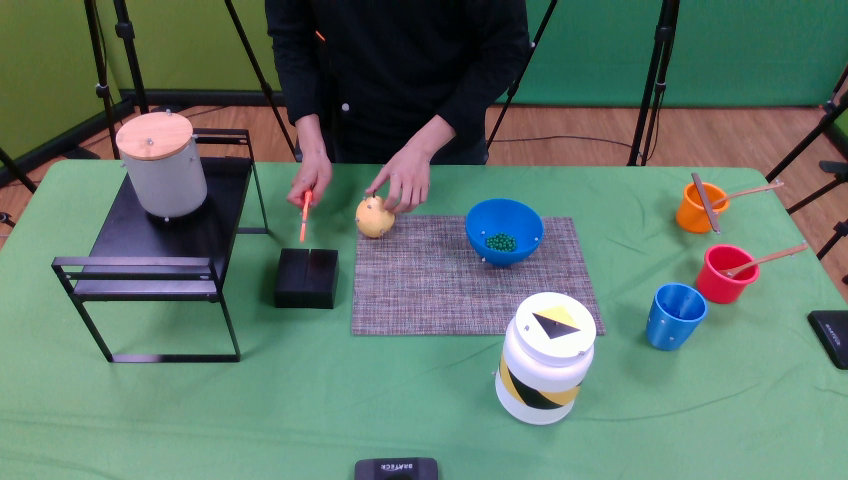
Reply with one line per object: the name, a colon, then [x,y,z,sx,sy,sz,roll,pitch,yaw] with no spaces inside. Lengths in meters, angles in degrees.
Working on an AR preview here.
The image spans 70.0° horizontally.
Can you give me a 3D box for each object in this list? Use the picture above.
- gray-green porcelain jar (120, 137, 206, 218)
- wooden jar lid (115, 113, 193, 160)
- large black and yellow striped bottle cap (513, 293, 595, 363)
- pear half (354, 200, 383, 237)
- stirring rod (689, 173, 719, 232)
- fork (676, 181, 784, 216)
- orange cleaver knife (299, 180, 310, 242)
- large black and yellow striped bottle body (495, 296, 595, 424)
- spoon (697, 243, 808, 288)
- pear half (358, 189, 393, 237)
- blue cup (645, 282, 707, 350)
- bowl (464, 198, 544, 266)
gray-green porcelain jar: [-0.403,-0.106,0.946,0.106,0.127,0.105,3,46,-2]
wooden jar lid: [-0.399,-0.151,0.900,0.108,0.021,0.107,3,46,-3]
large black and yellow striped bottle cap: [0.186,0.123,0.863,0.115,0.019,0.114,3,45,-3]
pear half: [-0.113,-0.038,1.171,0.070,0.088,0.031,28,50,17]
stirring rod: [0.566,-0.079,1.225,0.014,0.006,0.175,2,45,2]
fork: [0.618,-0.084,1.235,0.019,0.207,0.028,55,40,-15]
orange cleaver knife: [-0.227,-0.059,1.151,0.012,0.077,0.210,4,22,-10]
large black and yellow striped bottle body: [0.183,0.182,0.923,0.131,0.185,0.130,2,46,-2]
spoon: [0.601,0.045,1.115,0.194,0.022,0.041,-29,34,30]
pear half: [-0.092,-0.064,1.185,0.076,0.110,0.056,30,51,17]
blue cup: [0.425,0.136,1.042,0.093,0.101,0.092,1,44,-1]
bowl: [0.149,-0.003,1.168,0.151,0.077,0.150,2,46,-2]
